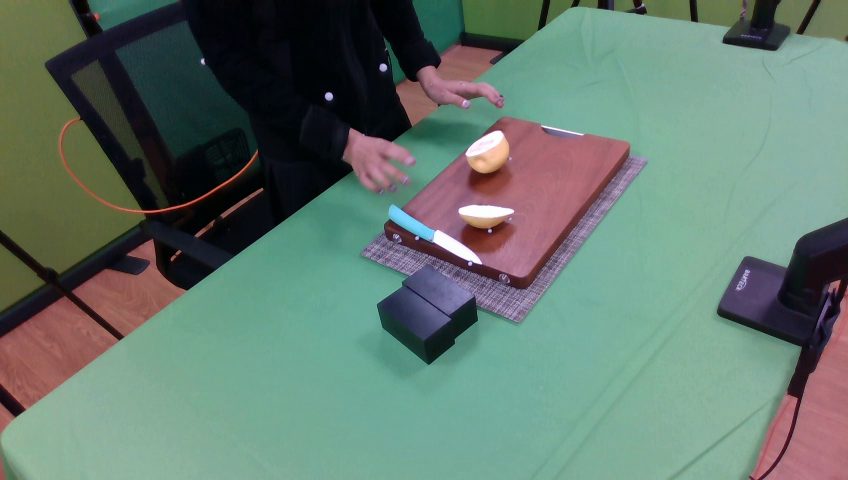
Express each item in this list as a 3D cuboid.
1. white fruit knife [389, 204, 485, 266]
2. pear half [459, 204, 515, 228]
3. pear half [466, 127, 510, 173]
[{"bbox_3d":[0.015,-0.007,0.950,0.205,0.016,0.027,30,69,34],"label":"white fruit knife"},{"bbox_3d":[0.098,-0.036,0.953,0.088,0.031,0.070,4,25,-4],"label":"pear half"},{"bbox_3d":[0.124,-0.162,1.079,0.076,0.056,0.110,-1,40,38],"label":"pear half"}]
